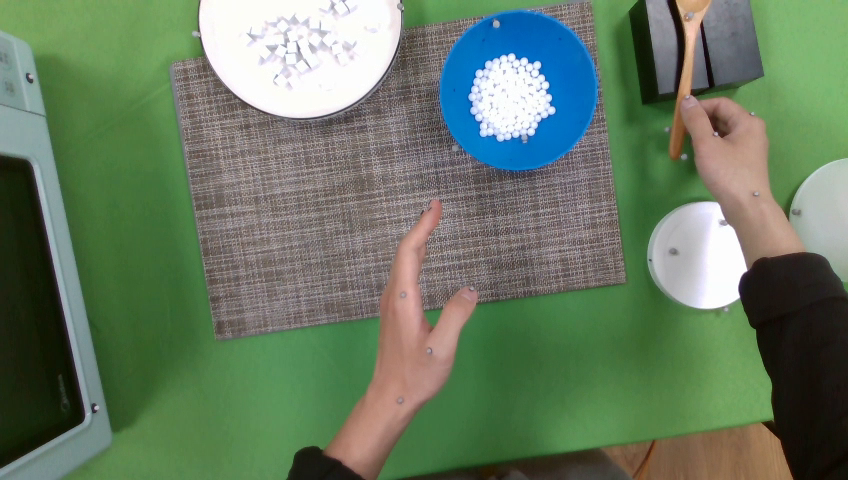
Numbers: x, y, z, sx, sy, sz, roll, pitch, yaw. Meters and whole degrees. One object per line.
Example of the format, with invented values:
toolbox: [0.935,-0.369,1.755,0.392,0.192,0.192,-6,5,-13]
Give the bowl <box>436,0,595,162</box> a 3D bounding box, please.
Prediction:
bowl: [0.087,-0.150,0.606,0.151,0.077,0.151,0,93,1]

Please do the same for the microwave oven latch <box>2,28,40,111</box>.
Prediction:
microwave oven latch: [-0.418,-0.171,0.615,0.030,0.029,0.079,-11,94,0]

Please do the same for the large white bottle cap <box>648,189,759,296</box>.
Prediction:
large white bottle cap: [0.299,0.003,0.648,0.115,0.018,0.115,0,93,0]

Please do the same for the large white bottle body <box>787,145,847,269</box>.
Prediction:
large white bottle body: [0.449,-0.032,0.561,0.130,0.184,0.130,0,92,1]

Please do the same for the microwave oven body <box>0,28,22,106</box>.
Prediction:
microwave oven body: [-0.532,0.034,0.531,0.326,0.260,0.442,-11,94,0]

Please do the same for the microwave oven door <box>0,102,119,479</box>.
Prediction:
microwave oven door: [-0.380,0.048,0.526,0.039,0.243,0.356,-11,93,2]

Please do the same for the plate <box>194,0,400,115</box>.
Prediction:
plate: [-0.127,-0.229,0.624,0.209,0.038,0.209,0,90,1]

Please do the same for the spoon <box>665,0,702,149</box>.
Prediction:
spoon: [0.252,-0.187,0.590,0.042,0.021,0.194,3,98,-4]
